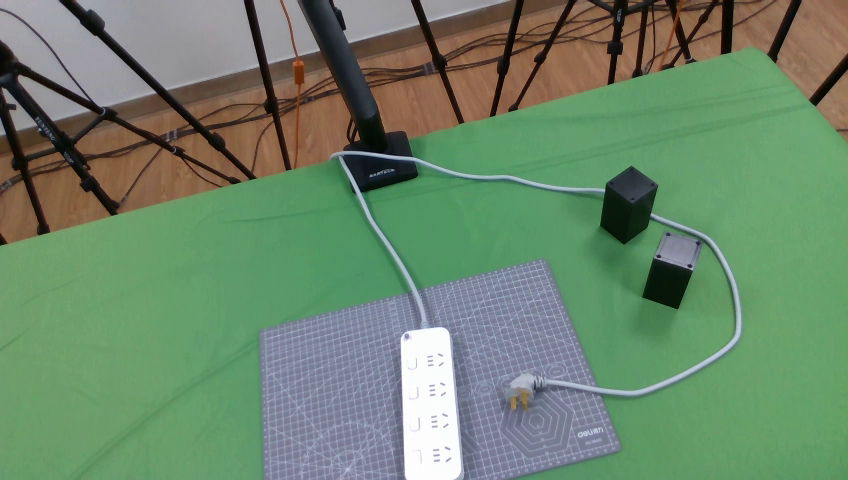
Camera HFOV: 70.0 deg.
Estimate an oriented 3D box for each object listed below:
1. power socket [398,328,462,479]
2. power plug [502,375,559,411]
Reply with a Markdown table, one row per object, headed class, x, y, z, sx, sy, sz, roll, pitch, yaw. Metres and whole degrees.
| class | x | y | z | sx | sy | sz | roll | pitch | yaw |
| --- | --- | --- | --- | --- | --- | --- | --- | --- | --- |
| power socket | 0.005 | 0.216 | 0.796 | 0.072 | 0.033 | 0.224 | -7 | 53 | 4 |
| power plug | 0.137 | 0.196 | 0.782 | 0.072 | 0.035 | 0.052 | -12 | 33 | 15 |
